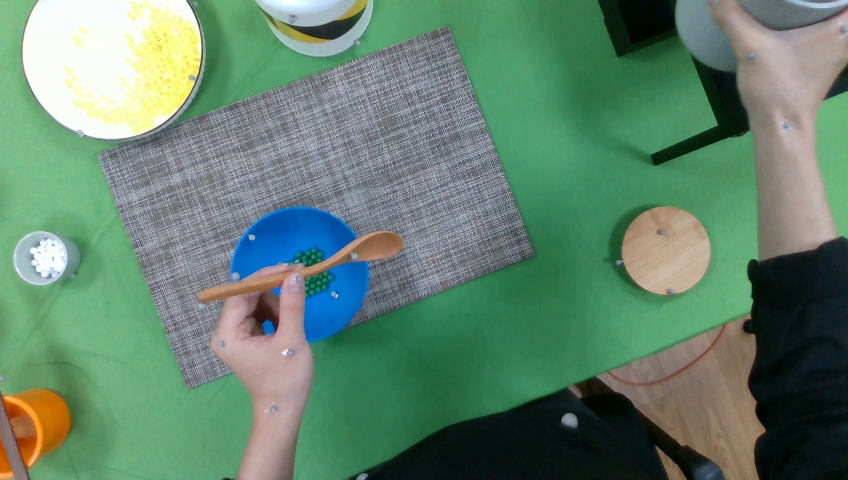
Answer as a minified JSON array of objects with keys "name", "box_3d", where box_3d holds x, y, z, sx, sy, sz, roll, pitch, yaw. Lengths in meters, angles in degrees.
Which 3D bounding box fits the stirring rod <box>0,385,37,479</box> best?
[{"name":"stirring rod","box_3d":[-0.452,0.183,0.650,0.014,0.006,0.176,-20,91,-1]}]

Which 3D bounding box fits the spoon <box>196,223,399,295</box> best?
[{"name":"spoon","box_3d":[-0.098,0.017,0.514,0.194,0.042,0.021,-20,63,-42]}]

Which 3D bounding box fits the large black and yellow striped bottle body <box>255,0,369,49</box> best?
[{"name":"large black and yellow striped bottle body","box_3d":[-0.128,-0.295,0.645,0.131,0.184,0.130,0,90,-2]}]

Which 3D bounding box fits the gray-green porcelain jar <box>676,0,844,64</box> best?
[{"name":"gray-green porcelain jar","box_3d":[0.273,-0.210,0.485,0.106,0.127,0.105,0,82,-3]}]

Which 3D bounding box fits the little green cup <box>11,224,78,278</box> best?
[{"name":"little green cup","box_3d":[-0.439,0.013,0.707,0.061,0.038,0.061,0,91,-2]}]

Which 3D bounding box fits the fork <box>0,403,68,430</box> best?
[{"name":"fork","box_3d":[-0.502,0.205,0.650,0.208,0.018,0.028,-1,92,-45]}]

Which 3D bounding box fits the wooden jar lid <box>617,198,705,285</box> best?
[{"name":"wooden jar lid","box_3d":[0.290,0.002,0.747,0.108,0.020,0.108,0,91,-2]}]

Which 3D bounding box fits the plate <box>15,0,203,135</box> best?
[{"name":"plate","box_3d":[-0.362,-0.224,0.709,0.209,0.038,0.209,0,91,-3]}]

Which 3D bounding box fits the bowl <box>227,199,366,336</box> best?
[{"name":"bowl","box_3d":[-0.139,0.030,0.696,0.151,0.077,0.151,0,90,-2]}]
